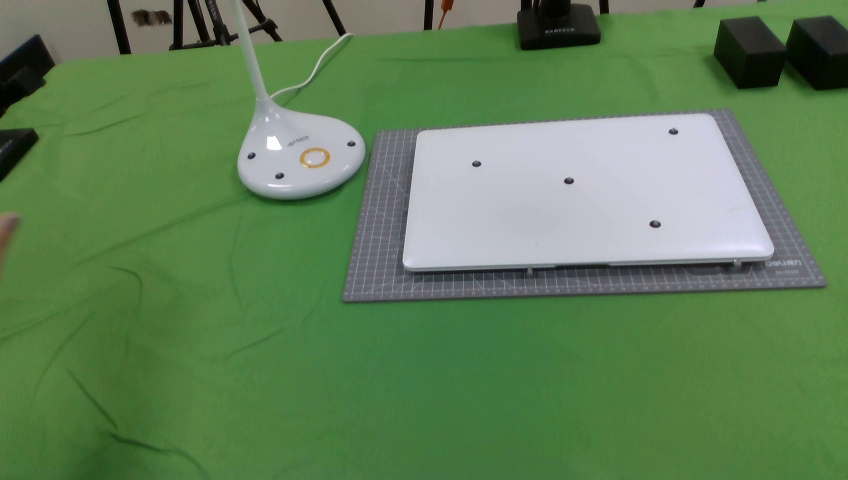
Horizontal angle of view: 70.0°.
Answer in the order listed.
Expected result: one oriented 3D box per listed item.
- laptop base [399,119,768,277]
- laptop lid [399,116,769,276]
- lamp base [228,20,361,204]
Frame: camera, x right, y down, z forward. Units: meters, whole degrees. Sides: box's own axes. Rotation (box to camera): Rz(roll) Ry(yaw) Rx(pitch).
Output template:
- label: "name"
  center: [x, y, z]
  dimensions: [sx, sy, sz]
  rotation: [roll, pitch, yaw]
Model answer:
- label: "laptop base"
  center: [0.155, -0.049, 0.667]
  dimensions: [0.354, 0.023, 0.233]
  rotation: [-3, 46, 6]
- label: "laptop lid"
  center: [0.154, -0.056, 0.656]
  dimensions: [0.356, 0.013, 0.239]
  rotation: [-2, 45, 7]
- label: "lamp base"
  center: [-0.177, -0.160, 0.717]
  dimensions: [0.177, 0.182, 0.160]
  rotation: [27, 53, 35]
